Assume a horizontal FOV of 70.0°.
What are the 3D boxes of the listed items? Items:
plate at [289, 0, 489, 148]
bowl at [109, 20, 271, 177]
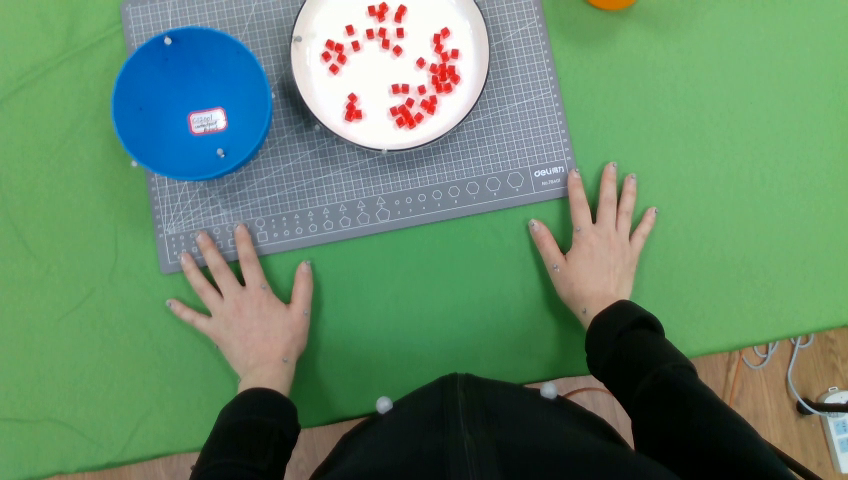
[{"bbox_3d":[-0.035,-0.197,0.639,0.209,0.038,0.208,0,85,-1],"label":"plate"},{"bbox_3d":[-0.222,-0.130,0.608,0.151,0.077,0.151,0,85,-2],"label":"bowl"}]
